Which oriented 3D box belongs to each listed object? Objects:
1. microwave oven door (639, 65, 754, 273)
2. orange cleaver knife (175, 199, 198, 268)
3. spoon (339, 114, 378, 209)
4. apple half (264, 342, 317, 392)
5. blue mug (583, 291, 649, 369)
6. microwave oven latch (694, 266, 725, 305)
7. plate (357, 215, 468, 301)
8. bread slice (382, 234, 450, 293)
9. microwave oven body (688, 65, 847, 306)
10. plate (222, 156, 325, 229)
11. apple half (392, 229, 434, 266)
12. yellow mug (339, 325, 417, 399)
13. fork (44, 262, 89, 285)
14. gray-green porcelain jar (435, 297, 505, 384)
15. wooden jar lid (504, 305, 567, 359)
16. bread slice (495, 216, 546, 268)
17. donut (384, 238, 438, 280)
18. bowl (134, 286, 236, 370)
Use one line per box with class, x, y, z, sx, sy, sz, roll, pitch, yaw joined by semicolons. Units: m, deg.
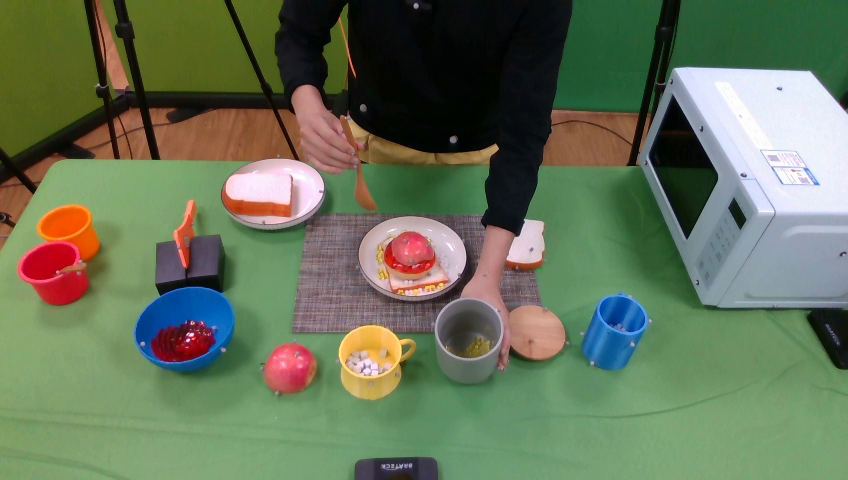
microwave oven door;0.522;-0.147;1.193;0.039;0.245;0.353;0;47;-3
orange cleaver knife;-0.438;-0.017;1.138;0.012;0.077;0.210;-13;27;-7
spoon;-0.105;-0.117;0.946;0.041;0.195;0.021;20;51;28
apple half;-0.214;0.198;0.970;0.074;0.053;0.080;19;48;10
blue mug;0.324;0.142;1.023;0.082;0.106;0.116;15;47;11
microwave oven latch;0.523;0.082;1.115;0.030;0.029;0.078;3;46;0
plate;-0.022;0.037;1.141;0.208;0.039;0.206;2;46;-2
bread slice;-0.025;0.043;1.146;0.107;0.018;0.133;-15;54;-14
microwave oven body;0.669;-0.111;1.176;0.326;0.261;0.439;0;46;-3
plate;-0.308;-0.095;1.251;0.209;0.038;0.208;2;47;-2
apple half;-0.021;0.005;1.083;0.081;0.033;0.081;7;47;-7
yellow mug;-0.072;0.190;0.978;0.131;0.064;0.099;-17;50;-20
fork;-0.598;0.054;1.014;0.207;0.019;0.028;-15;28;45
gray-green porcelain jar;0.072;0.164;0.963;0.106;0.127;0.105;-1;59;2
wooden jar lid;0.192;0.161;1.051;0.108;0.021;0.107;2;50;-3
bread slice;0.194;0.002;1.205;0.105;0.019;0.131;5;45;3
donut;-0.025;0.029;1.109;0.099;0.048;0.098;2;46;-2
bowl;-0.377;0.155;0.981;0.151;0.077;0.150;2;46;-2
